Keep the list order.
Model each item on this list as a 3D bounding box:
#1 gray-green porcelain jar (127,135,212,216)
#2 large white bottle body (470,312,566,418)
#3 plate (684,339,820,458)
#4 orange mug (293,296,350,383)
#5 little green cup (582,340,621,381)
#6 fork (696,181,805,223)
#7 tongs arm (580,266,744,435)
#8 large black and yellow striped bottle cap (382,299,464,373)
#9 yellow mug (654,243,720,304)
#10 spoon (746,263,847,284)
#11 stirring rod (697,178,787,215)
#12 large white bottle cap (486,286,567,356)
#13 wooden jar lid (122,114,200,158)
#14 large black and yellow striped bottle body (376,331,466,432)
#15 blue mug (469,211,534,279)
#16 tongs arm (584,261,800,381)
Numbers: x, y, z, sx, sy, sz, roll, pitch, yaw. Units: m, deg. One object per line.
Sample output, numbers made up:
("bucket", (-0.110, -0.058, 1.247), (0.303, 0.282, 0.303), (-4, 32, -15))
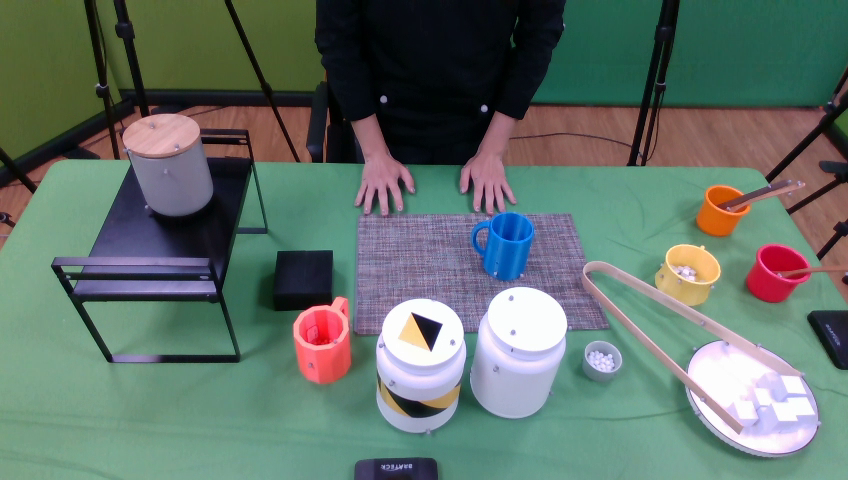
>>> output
("gray-green porcelain jar", (-0.394, -0.109, 0.949), (0.106, 0.127, 0.105), (3, 46, -3))
("large white bottle body", (0.143, 0.173, 0.930), (0.131, 0.185, 0.130), (2, 46, -2))
("plate", (0.523, 0.256, 0.982), (0.208, 0.039, 0.206), (2, 46, -2))
("orange mug", (-0.157, 0.154, 0.985), (0.083, 0.101, 0.125), (17, 52, 11))
("little green cup", (0.295, 0.204, 1.015), (0.061, 0.039, 0.061), (2, 45, -2))
("fork", (0.659, -0.077, 1.232), (0.207, 0.019, 0.028), (-26, 35, 34))
("tongs arm", (0.384, 0.173, 1.028), (0.028, 0.028, 0.385), (-25, 46, -15))
("large black and yellow striped bottle cap", (-0.002, 0.132, 0.843), (0.115, 0.019, 0.114), (2, 46, -1))
("yellow mug", (0.504, 0.054, 1.154), (0.099, 0.064, 0.130), (28, 50, 22))
("spoon", (0.696, 0.057, 1.113), (0.193, 0.022, 0.041), (-16, 27, 48))
("stirring rod", (0.650, -0.088, 1.245), (0.006, 0.176, 0.014), (29, 50, -39))
("large white bottle cap", (0.147, 0.114, 0.869), (0.115, 0.018, 0.114), (3, 46, -3))
("wooden jar lid", (-0.390, -0.152, 0.904), (0.108, 0.021, 0.107), (3, 45, -3))
("large black and yellow striped bottle body", (-0.007, 0.189, 0.905), (0.131, 0.185, 0.130), (2, 46, -2))
("blue mug", (0.141, 0.005, 1.140), (0.116, 0.106, 0.082), (18, 48, 13))
("tongs arm", (0.452, 0.137, 1.064), (0.051, 0.027, 0.382), (-34, 50, -27))
